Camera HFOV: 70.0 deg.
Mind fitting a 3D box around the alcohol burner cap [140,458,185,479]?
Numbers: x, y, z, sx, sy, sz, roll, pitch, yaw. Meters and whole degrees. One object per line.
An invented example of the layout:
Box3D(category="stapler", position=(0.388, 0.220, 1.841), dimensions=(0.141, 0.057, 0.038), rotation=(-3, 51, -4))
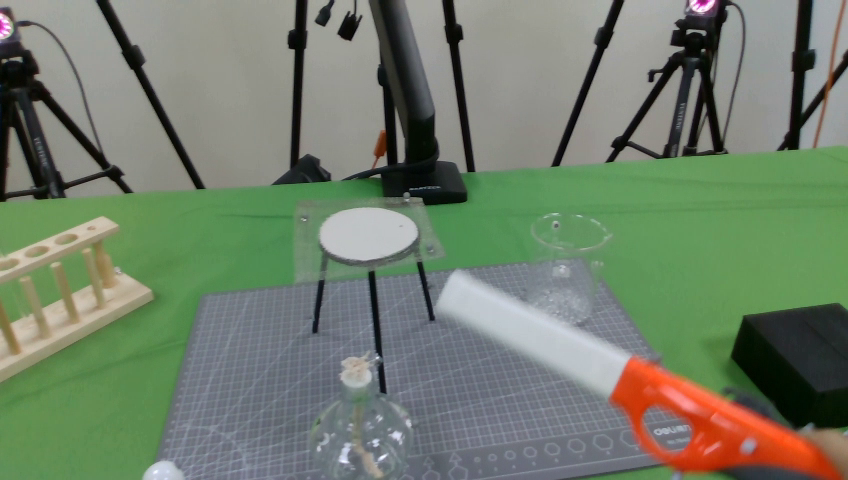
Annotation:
Box3D(category="alcohol burner cap", position=(-0.188, 0.178, 0.438), dimensions=(0.034, 0.048, 0.033), rotation=(1, 31, 0))

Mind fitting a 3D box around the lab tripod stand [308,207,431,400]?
Box3D(category="lab tripod stand", position=(-0.048, 0.050, 0.558), dimensions=(0.148, 0.132, 0.147), rotation=(1, 32, 0))

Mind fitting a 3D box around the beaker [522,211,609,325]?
Box3D(category="beaker", position=(0.141, 0.031, 0.619), dimensions=(0.084, 0.101, 0.073), rotation=(-1, 32, -1))

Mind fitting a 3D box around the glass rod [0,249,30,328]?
Box3D(category="glass rod", position=(-0.396, 0.006, 0.558), dimensions=(0.008, 0.201, 0.008), rotation=(4, 33, -2))

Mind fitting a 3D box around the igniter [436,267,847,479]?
Box3D(category="igniter", position=(0.122, 0.086, 0.349), dimensions=(0.274, 0.057, 0.025), rotation=(27, 0, 31))

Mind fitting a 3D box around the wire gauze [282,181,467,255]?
Box3D(category="wire gauze", position=(-0.044, -0.020, 0.512), dimensions=(0.125, 0.011, 0.120), rotation=(-10, 29, -29))

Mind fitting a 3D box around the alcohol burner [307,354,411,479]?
Box3D(category="alcohol burner", position=(-0.048, 0.130, 0.446), dimensions=(0.078, 0.120, 0.077), rotation=(1, 31, 0))

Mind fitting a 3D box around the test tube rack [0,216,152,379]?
Box3D(category="test tube rack", position=(-0.400, 0.069, 0.582), dimensions=(0.066, 0.086, 0.242), rotation=(21, 38, 31))
